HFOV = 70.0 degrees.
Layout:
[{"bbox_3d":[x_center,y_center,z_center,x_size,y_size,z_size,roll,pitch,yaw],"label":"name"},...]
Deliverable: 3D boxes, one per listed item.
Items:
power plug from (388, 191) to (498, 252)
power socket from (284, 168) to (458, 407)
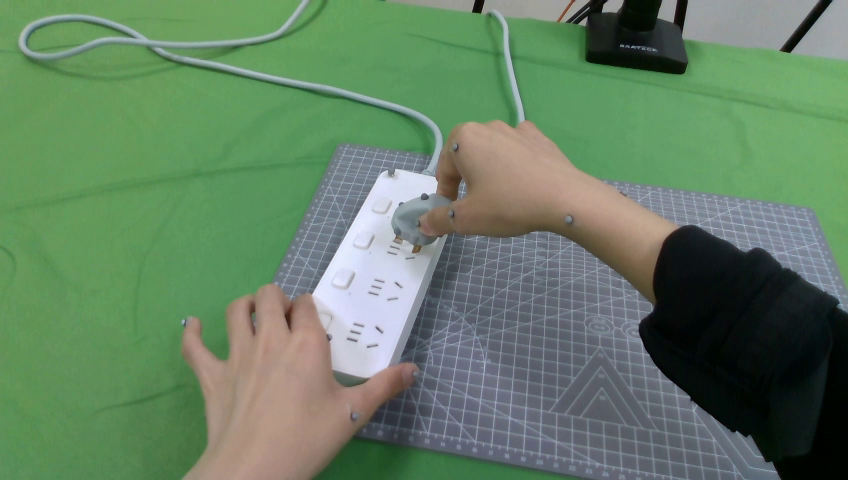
[{"bbox_3d":[0.009,-0.006,0.436,0.072,0.053,0.035,25,46,1],"label":"power plug"},{"bbox_3d":[-0.031,0.021,0.458,0.072,0.033,0.225,15,46,9],"label":"power socket"}]
